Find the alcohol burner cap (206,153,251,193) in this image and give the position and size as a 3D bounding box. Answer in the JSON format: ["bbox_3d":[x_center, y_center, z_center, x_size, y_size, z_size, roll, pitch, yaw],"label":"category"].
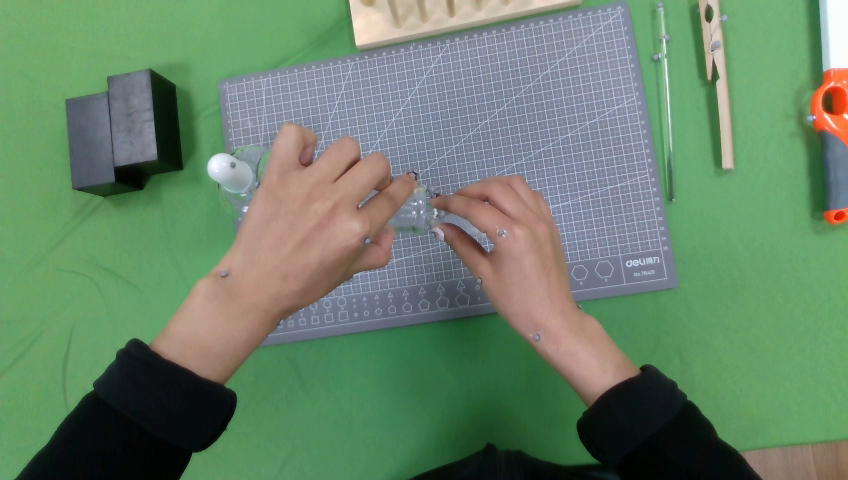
[{"bbox_3d":[-0.188,-0.066,0.573,0.034,0.048,0.033,-1,80,4],"label":"alcohol burner cap"}]

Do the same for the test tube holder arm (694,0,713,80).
[{"bbox_3d":[0.285,-0.206,0.612,0.010,0.015,0.087,-11,83,44],"label":"test tube holder arm"}]

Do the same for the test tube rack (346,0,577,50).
[{"bbox_3d":[0.032,-0.265,0.614,0.242,0.085,0.066,-10,84,7],"label":"test tube rack"}]

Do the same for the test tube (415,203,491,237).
[{"bbox_3d":[0.030,-0.016,0.539,0.017,0.151,0.017,-2,84,25],"label":"test tube"}]

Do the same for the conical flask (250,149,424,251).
[{"bbox_3d":[-0.062,-0.026,0.451,0.122,0.075,0.075,3,85,-5],"label":"conical flask"}]

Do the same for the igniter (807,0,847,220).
[{"bbox_3d":[0.399,-0.157,0.587,0.057,0.025,0.276,0,86,-2],"label":"igniter"}]

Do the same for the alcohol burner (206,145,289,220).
[{"bbox_3d":[-0.182,-0.061,0.609,0.078,0.119,0.077,-1,85,10],"label":"alcohol burner"}]

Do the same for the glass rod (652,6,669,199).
[{"bbox_3d":[0.241,-0.140,0.616,0.008,0.008,0.199,-2,88,7],"label":"glass rod"}]

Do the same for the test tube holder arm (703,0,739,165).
[{"bbox_3d":[0.295,-0.162,0.604,0.013,0.015,0.178,-13,82,44],"label":"test tube holder arm"}]
